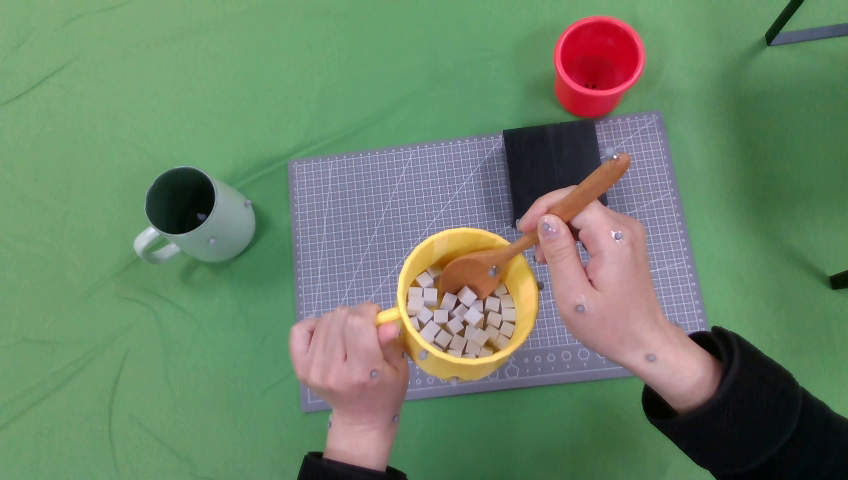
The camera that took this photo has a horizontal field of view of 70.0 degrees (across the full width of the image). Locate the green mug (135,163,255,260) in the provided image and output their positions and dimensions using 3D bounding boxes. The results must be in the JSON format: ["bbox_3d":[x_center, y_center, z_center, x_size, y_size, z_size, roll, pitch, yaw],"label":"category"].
[{"bbox_3d":[-0.262,-0.022,0.678,0.125,0.105,0.092,-38,77,-5],"label":"green mug"}]

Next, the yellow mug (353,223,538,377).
[{"bbox_3d":[0.012,0.049,0.441,0.131,0.064,0.099,-14,70,-10],"label":"yellow mug"}]

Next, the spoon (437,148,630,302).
[{"bbox_3d":[0.065,-0.002,0.399,0.042,0.194,0.021,33,54,-11],"label":"spoon"}]
